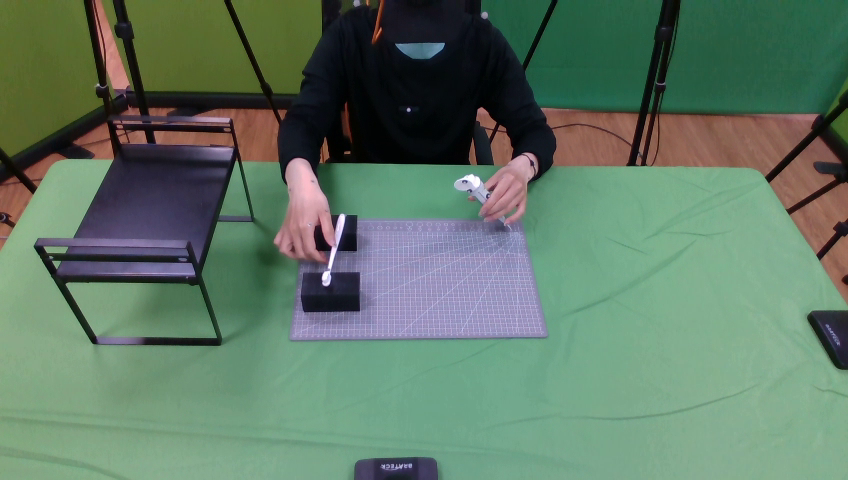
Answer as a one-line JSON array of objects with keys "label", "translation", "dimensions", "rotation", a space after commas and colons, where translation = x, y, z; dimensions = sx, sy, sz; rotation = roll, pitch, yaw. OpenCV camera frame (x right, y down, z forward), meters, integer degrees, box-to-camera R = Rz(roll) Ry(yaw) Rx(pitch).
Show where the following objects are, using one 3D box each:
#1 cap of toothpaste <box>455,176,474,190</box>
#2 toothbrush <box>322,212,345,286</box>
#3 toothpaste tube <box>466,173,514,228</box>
[{"label": "cap of toothpaste", "translation": [0.075, -0.107, 1.116], "dimensions": [0.037, 0.037, 0.011], "rotation": [1, 62, -3]}, {"label": "toothbrush", "translation": [-0.164, 0.011, 1.101], "dimensions": [0.014, 0.017, 0.181], "rotation": [-5, 44, 10]}, {"label": "toothpaste tube", "translation": [0.128, -0.078, 1.186], "dimensions": [0.034, 0.166, 0.054], "rotation": [-37, 44, 15]}]
